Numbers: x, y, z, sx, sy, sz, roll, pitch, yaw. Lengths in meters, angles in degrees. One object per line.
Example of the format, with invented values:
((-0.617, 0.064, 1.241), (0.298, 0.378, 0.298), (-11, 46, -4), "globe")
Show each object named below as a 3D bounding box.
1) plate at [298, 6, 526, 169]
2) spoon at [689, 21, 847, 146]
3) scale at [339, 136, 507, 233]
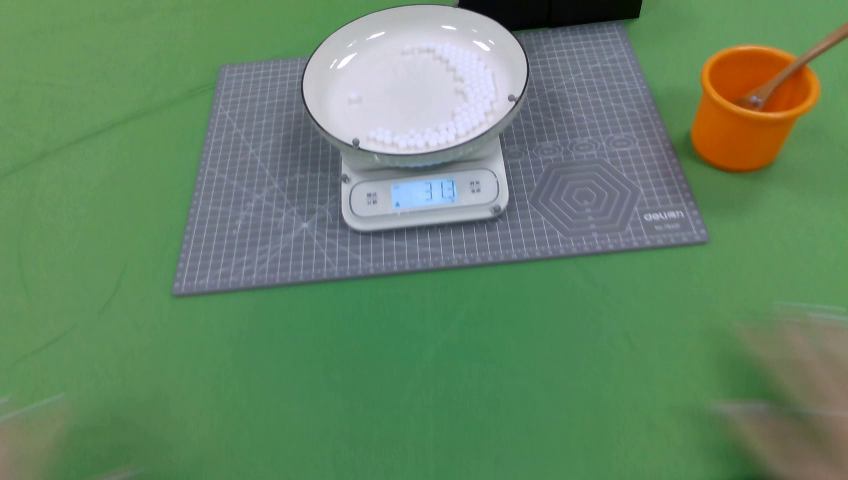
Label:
((-0.011, -0.141, 0.563), (0.209, 0.038, 0.207), (-2, 55, 3), "plate")
((0.310, -0.143, 0.503), (0.022, 0.194, 0.041), (22, 43, -33), "spoon")
((-0.006, -0.098, 0.573), (0.148, 0.032, 0.199), (-6, 55, 2), "scale")
